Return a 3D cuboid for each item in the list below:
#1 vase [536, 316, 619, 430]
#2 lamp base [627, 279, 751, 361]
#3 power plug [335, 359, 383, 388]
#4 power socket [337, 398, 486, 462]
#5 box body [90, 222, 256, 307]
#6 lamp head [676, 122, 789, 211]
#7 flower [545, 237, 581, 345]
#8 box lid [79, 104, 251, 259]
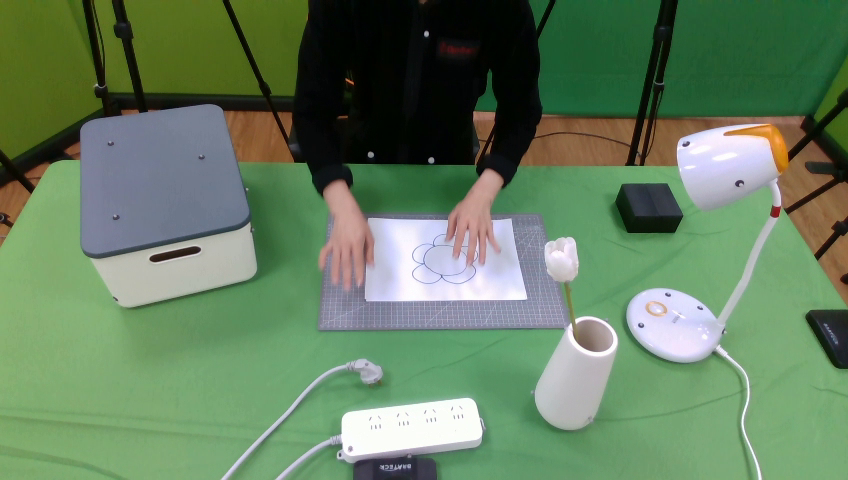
[{"bbox_3d":[0.229,0.200,0.901,0.098,0.201,0.097,3,46,-3],"label":"vase"},{"bbox_3d":[0.460,0.100,1.027,0.178,0.181,0.160,27,51,17],"label":"lamp base"},{"bbox_3d":[-0.099,0.214,0.976,0.072,0.053,0.035,0,33,33],"label":"power plug"},{"bbox_3d":[-0.018,0.285,0.914,0.227,0.033,0.071,-4,46,-8],"label":"power socket"},{"bbox_3d":[-0.471,-0.070,1.131,0.254,0.161,0.361,-14,49,-17],"label":"box body"},{"bbox_3d":[0.423,-0.104,0.819,0.122,0.113,0.112,-13,33,40],"label":"lamp head"},{"bbox_3d":[0.213,0.137,0.846,0.038,0.364,0.044,22,55,40],"label":"flower"},{"bbox_3d":[-0.467,-0.120,1.076,0.264,0.015,0.369,-13,49,-17],"label":"box lid"}]
